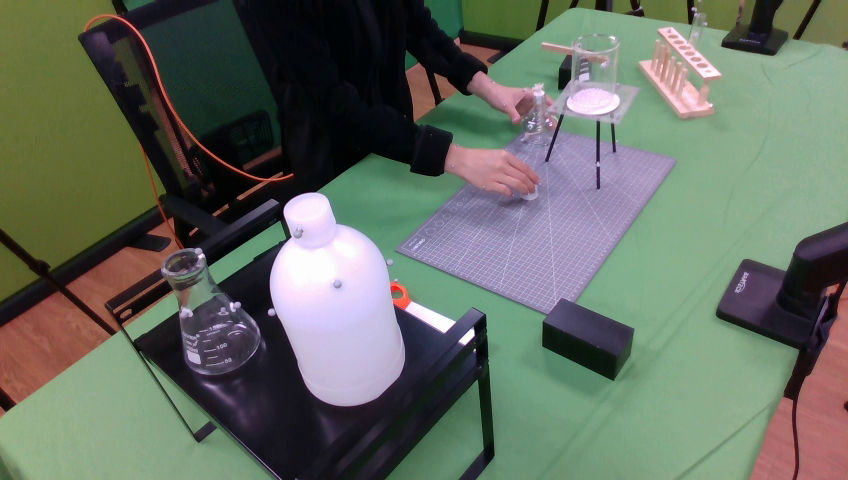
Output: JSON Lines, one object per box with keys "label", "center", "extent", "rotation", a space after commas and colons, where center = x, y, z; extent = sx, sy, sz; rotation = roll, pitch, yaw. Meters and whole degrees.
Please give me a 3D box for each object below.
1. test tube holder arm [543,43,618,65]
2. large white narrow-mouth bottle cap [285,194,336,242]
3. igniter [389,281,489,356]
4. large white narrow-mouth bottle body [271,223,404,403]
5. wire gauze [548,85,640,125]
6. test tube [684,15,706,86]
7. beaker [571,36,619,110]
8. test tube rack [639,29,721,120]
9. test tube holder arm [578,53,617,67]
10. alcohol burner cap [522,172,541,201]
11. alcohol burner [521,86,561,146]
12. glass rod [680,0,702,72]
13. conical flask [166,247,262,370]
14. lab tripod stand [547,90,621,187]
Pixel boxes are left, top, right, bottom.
{"label": "test tube holder arm", "center": [0.344, -0.413, 1.340], "extent": [0.177, 0.015, 0.013], "rotation": [25, 49, 31]}
{"label": "large white narrow-mouth bottle cap", "center": [-0.087, -0.018, 0.467], "extent": [0.038, 0.024, 0.037], "rotation": [-5, 40, 4]}
{"label": "igniter", "center": [-0.030, 0.095, 0.871], "extent": [0.274, 0.025, 0.057], "rotation": [22, 59, 31]}
{"label": "large white narrow-mouth bottle body", "center": [-0.077, 0.048, 0.525], "extent": [0.102, 0.195, 0.101], "rotation": [-5, 40, 5]}
{"label": "wire gauze", "center": [0.286, -0.233, 1.020], "extent": [0.124, 0.011, 0.122], "rotation": [15, 43, 30]}
{"label": "test tube", "center": [0.540, -0.378, 1.215], "extent": [0.017, 0.151, 0.017], "rotation": [-2, 44, 3]}
{"label": "beaker", "center": [0.281, -0.273, 0.992], "extent": [0.084, 0.101, 0.073], "rotation": [-24, 42, -16]}
{"label": "test tube rack", "center": [0.527, -0.351, 1.262], "extent": [0.067, 0.085, 0.241], "rotation": [-8, 40, 1]}
{"label": "test tube holder arm", "center": [0.376, -0.393, 1.314], "extent": [0.087, 0.015, 0.010], "rotation": [26, 50, 32]}
{"label": "alcohol burner cap", "center": [0.185, -0.095, 1.047], "extent": [0.034, 0.048, 0.033], "rotation": [-7, 41, 6]}
{"label": "alcohol burner", "center": [0.223, -0.241, 1.156], "extent": [0.078, 0.119, 0.077], "rotation": [-5, 42, 5]}
{"label": "glass rod", "center": [0.542, -0.417, 1.233], "extent": [0.008, 0.200, 0.008], "rotation": [1, 40, 0]}
{"label": "conical flask", "center": [-0.209, 0.064, 0.584], "extent": [0.075, 0.122, 0.075], "rotation": [-5, 40, 4]}
{"label": "lab tripod stand", "center": [0.289, -0.184, 1.062], "extent": [0.148, 0.132, 0.147], "rotation": [-6, 41, 6]}
